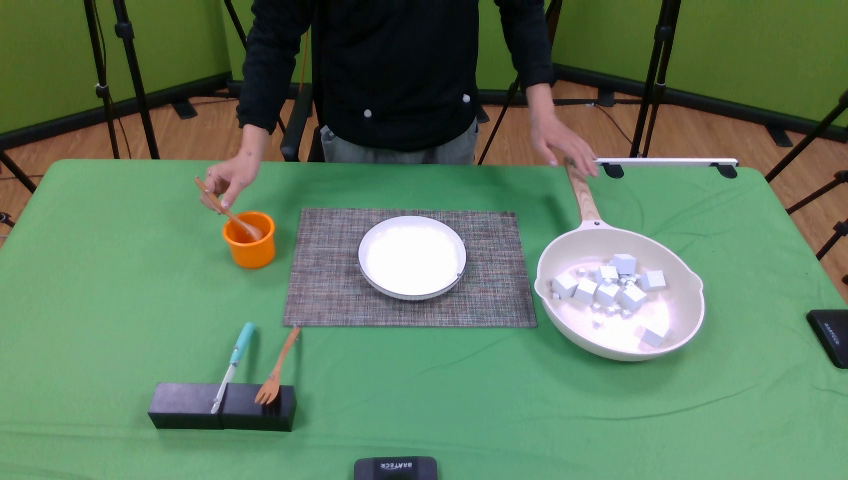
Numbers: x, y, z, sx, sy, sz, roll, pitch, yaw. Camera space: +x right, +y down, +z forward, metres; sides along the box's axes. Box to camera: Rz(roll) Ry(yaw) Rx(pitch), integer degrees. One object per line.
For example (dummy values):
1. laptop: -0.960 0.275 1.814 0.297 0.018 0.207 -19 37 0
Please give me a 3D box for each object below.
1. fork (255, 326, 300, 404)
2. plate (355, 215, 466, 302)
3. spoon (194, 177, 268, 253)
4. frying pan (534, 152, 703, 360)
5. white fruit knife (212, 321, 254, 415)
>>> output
1. fork: -0.226 0.192 0.955 0.028 0.019 0.206 -1 27 4
2. plate: -0.025 0.038 1.143 0.208 0.039 0.206 3 46 -2
3. spoon: -0.348 -0.044 1.101 0.021 0.195 0.041 -29 36 20
4. frying pan: 0.335 0.013 1.154 0.307 0.103 0.484 -1 55 -7
5. white fruit knife: -0.298 0.193 0.947 0.016 0.027 0.206 2 31 -1
